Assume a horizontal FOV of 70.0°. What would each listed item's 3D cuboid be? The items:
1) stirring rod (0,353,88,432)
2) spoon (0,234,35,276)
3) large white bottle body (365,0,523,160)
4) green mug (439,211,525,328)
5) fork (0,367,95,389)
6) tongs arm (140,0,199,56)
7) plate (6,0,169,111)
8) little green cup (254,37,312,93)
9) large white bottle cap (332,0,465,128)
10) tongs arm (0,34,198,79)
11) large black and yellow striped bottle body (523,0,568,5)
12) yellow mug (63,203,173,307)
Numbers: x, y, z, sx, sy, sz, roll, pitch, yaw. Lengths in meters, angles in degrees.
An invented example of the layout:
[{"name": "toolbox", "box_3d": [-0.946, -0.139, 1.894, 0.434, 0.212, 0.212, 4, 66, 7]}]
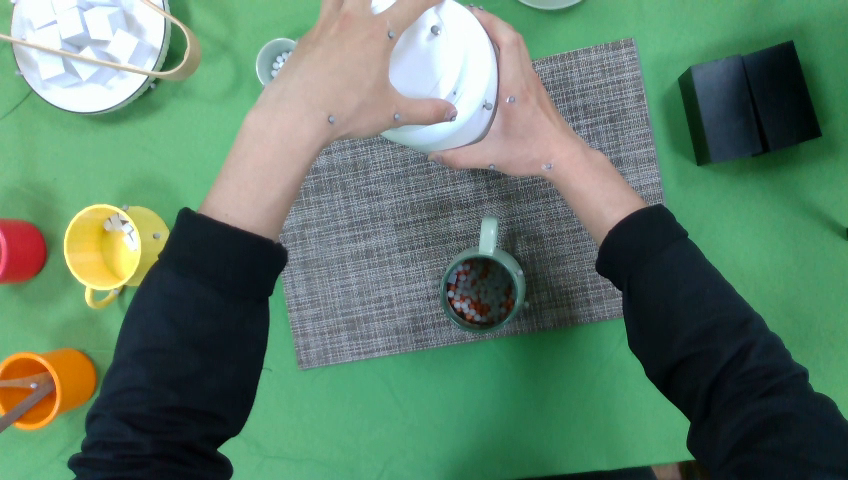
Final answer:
[{"name": "stirring rod", "box_3d": [-0.477, 0.198, 0.715, 0.014, 0.006, 0.175, 40, 55, 4]}, {"name": "spoon", "box_3d": [-0.533, -0.027, 0.710, 0.041, 0.021, 0.196, -15, 135, 8]}, {"name": "large white bottle body", "box_3d": [0.010, -0.151, 0.572, 0.130, 0.185, 0.130, 0, 90, 23]}, {"name": "green mug", "box_3d": [0.063, 0.031, 0.645, 0.092, 0.105, 0.125, 6, 92, 9]}, {"name": "fork", "box_3d": [-0.505, 0.166, 0.712, 0.209, 0.018, 0.028, 6, 90, -35]}, {"name": "tongs arm", "box_3d": [-0.415, -0.323, 0.707, 0.386, 0.028, 0.028, 32, 90, 8]}, {"name": "plate", "box_3d": [-0.403, -0.260, 0.738, 0.207, 0.039, 0.207, 0, 93, 8]}, {"name": "little green cup", "box_3d": [-0.161, -0.200, 0.705, 0.061, 0.038, 0.061, 0, 93, 9]}, {"name": "large white bottle cap", "box_3d": [-0.023, -0.150, 0.494, 0.114, 0.018, 0.115, 0, 91, 22]}, {"name": "tongs arm", "box_3d": [-0.447, -0.246, 0.712, 0.384, 0.026, 0.051, 18, 91, 9]}, {"name": "large black and yellow striped bottle body", "box_3d": [0.125, -0.322, 0.586, 0.130, 0.184, 0.130, 0, 92, 9]}, {"name": "yellow mug", "box_3d": [-0.372, 0.020, 0.730, 0.100, 0.064, 0.131, 22, 96, 6]}]
